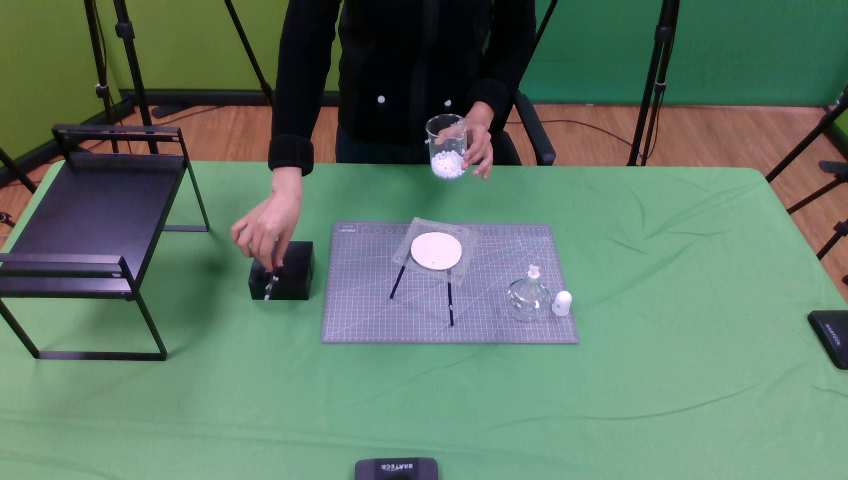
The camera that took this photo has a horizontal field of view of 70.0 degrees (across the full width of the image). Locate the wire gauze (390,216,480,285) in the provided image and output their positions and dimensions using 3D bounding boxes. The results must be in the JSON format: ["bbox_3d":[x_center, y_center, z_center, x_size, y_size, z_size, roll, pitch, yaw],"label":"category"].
[{"bbox_3d":[0.020,0.012,1.009,0.125,0.011,0.121,16,48,12],"label":"wire gauze"}]

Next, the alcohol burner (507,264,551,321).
[{"bbox_3d":[0.185,0.086,1.056,0.078,0.120,0.077,1,47,0],"label":"alcohol burner"}]

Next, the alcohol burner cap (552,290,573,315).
[{"bbox_3d":[0.251,0.109,1.088,0.034,0.048,0.033,2,47,-2],"label":"alcohol burner cap"}]

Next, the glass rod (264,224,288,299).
[{"bbox_3d":[-0.262,0.033,1.079,0.008,0.008,0.198,2,39,-2],"label":"glass rod"}]

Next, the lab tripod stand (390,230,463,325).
[{"bbox_3d":[0.014,0.060,1.056,0.148,0.132,0.147,1,48,-1],"label":"lab tripod stand"}]

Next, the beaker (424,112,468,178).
[{"bbox_3d":[0.045,-0.168,1.100,0.074,0.101,0.083,-31,50,-22],"label":"beaker"}]
